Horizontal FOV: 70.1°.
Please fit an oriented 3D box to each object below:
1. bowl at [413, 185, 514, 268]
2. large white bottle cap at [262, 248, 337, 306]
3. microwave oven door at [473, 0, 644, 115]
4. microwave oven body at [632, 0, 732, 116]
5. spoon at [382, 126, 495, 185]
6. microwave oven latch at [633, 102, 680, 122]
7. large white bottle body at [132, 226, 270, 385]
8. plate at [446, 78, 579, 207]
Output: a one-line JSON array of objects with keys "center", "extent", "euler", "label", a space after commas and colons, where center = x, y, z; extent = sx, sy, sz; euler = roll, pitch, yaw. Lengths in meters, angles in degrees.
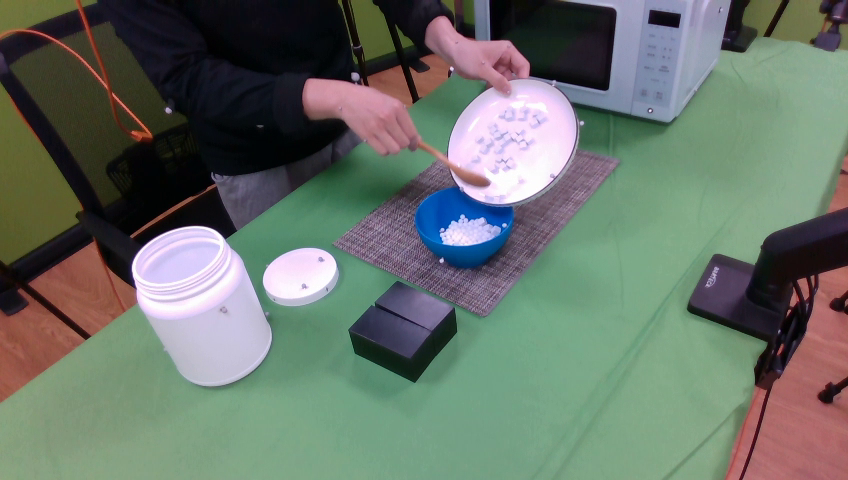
[{"center": [0.063, -0.010, 0.922], "extent": [0.151, 0.077, 0.150], "euler": [-4, 40, 4], "label": "bowl"}, {"center": [-0.193, 0.056, 0.934], "extent": [0.115, 0.018, 0.114], "euler": [-4, 41, 4], "label": "large white bottle cap"}, {"center": [0.257, -0.396, 1.199], "extent": [0.353, 0.245, 0.039], "euler": [21, 48, 29], "label": "microwave oven door"}, {"center": [0.377, -0.463, 1.267], "extent": [0.438, 0.261, 0.327], "euler": [21, 48, 30], "label": "microwave oven body"}, {"center": [0.019, -0.130, 0.902], "extent": [0.193, 0.021, 0.042], "euler": [32, 43, 14], "label": "spoon"}, {"center": [0.443, -0.249, 1.157], "extent": [0.078, 0.029, 0.030], "euler": [21, 49, 30], "label": "microwave oven latch"}, {"center": [-0.286, 0.085, 0.784], "extent": [0.130, 0.185, 0.130], "euler": [-4, 41, 4], "label": "large white bottle body"}, {"center": [0.134, -0.145, 0.922], "extent": [0.208, 0.038, 0.208], "euler": [-9, 70, 25], "label": "plate"}]
